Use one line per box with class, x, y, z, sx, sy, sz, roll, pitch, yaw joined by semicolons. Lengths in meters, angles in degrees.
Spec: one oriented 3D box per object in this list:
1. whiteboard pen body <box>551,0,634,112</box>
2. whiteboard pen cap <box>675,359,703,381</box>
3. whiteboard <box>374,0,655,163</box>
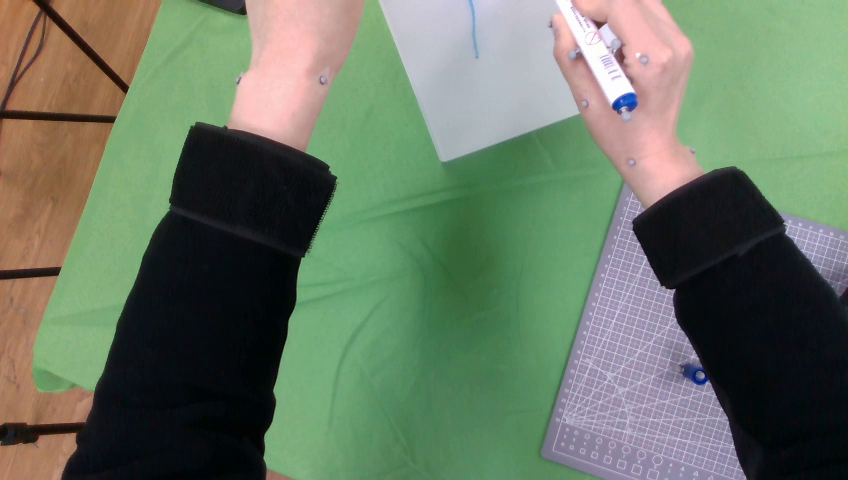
whiteboard pen body;0.100;-0.139;0.391;0.017;0.017;0.139;-20;65;4
whiteboard pen cap;0.252;0.123;0.578;0.018;0.033;0.018;0;89;4
whiteboard;0.066;-0.230;0.506;0.217;0.308;0.142;-18;66;5
